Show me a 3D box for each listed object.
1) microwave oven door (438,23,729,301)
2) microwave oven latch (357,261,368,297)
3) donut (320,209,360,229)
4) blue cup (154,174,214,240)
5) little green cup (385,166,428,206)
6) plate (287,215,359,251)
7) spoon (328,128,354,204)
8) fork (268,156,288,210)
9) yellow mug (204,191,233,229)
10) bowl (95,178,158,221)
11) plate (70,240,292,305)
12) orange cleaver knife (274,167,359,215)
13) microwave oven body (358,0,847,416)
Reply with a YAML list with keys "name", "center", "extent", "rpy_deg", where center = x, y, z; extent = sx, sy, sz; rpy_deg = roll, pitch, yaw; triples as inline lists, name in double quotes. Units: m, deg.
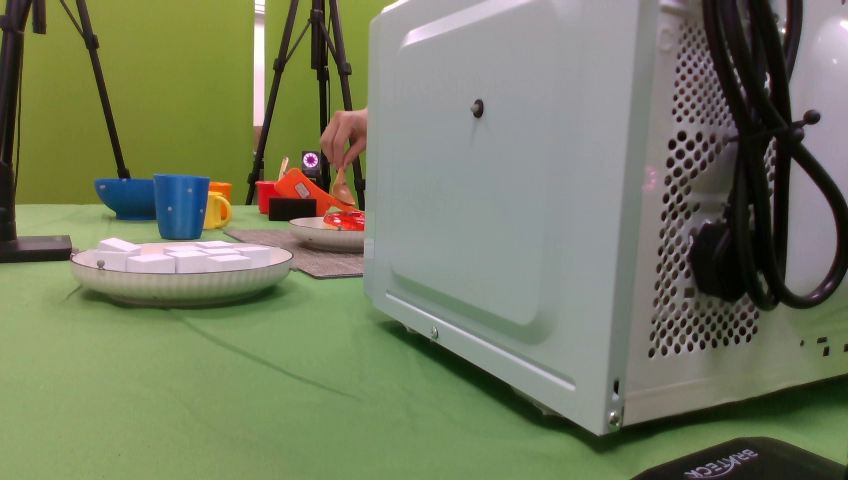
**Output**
- name: "microwave oven door"
  center: [0.181, -0.072, 0.620]
  extent: [0.358, 0.243, 0.039]
  rpy_deg: [-2, 8, -29]
- name: "microwave oven latch"
  center: [-0.019, 0.033, 0.531]
  extent: [0.079, 0.029, 0.030]
  rpy_deg: [-1, 7, -27]
- name: "donut"
  center: [-0.115, -0.023, 0.961]
  extent: [0.099, 0.048, 0.099]
  rpy_deg: [5, 7, 0]
- name: "blue cup"
  center: [-0.390, -0.053, 0.978]
  extent: [0.093, 0.100, 0.092]
  rpy_deg: [3, 6, 0]
- name: "little green cup"
  center: [-0.024, -0.081, 0.928]
  extent: [0.061, 0.038, 0.061]
  rpy_deg: [-32, -7, -4]
- name: "plate"
  center: [-0.112, -0.012, 0.960]
  extent: [0.209, 0.038, 0.209]
  rpy_deg: [3, 8, 0]
- name: "spoon"
  center: [-0.144, -0.127, 1.014]
  extent: [0.042, 0.021, 0.193]
  rpy_deg: [17, 43, -33]
- name: "fork"
  center: [-0.360, -0.144, 1.508]
  extent: [0.028, 0.018, 0.207]
  rpy_deg: [2, 49, 0]
- name: "yellow mug"
  center: [-0.415, -0.057, 1.132]
  extent: [0.130, 0.064, 0.100]
  rpy_deg: [6, 8, 16]
- name: "bowl"
  center: [-0.576, -0.081, 1.217]
  extent: [0.151, 0.077, 0.151]
  rpy_deg: [3, 8, 0]
- name: "plate"
  center: [-0.242, 0.031, 0.618]
  extent: [0.208, 0.039, 0.207]
  rpy_deg: [2, 8, 0]
- name: "orange cleaver knife"
  center: [-0.238, -0.090, 1.381]
  extent: [0.212, 0.077, 0.012]
  rpy_deg: [31, 0, -19]
- name: "microwave oven body"
  center: [0.211, -0.047, 0.474]
  extent: [0.444, 0.260, 0.324]
  rpy_deg: [-1, 7, -28]
